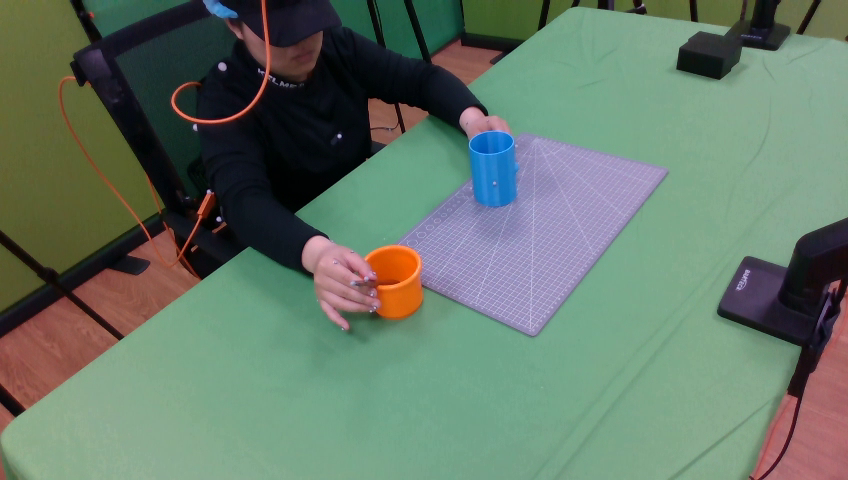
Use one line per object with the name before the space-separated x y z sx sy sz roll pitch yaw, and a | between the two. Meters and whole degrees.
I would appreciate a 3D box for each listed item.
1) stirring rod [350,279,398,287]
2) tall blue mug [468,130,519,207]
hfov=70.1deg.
stirring rod | -0.066 0.058 0.834 0.014 0.006 0.177 13 0 14
tall blue mug | 0.114 -0.131 1.045 0.078 0.108 0.106 -20 41 -11
